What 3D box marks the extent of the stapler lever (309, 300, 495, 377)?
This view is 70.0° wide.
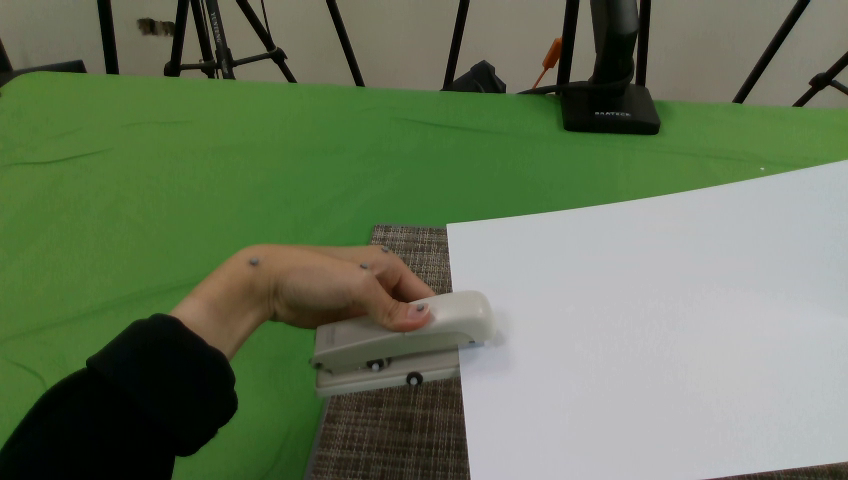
[{"bbox_3d":[-0.015,0.061,0.378,0.118,0.040,0.026,-5,39,0],"label":"stapler lever"}]

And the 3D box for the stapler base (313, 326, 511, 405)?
[{"bbox_3d":[-0.011,0.075,0.391,0.130,0.025,0.041,-11,38,4],"label":"stapler base"}]
